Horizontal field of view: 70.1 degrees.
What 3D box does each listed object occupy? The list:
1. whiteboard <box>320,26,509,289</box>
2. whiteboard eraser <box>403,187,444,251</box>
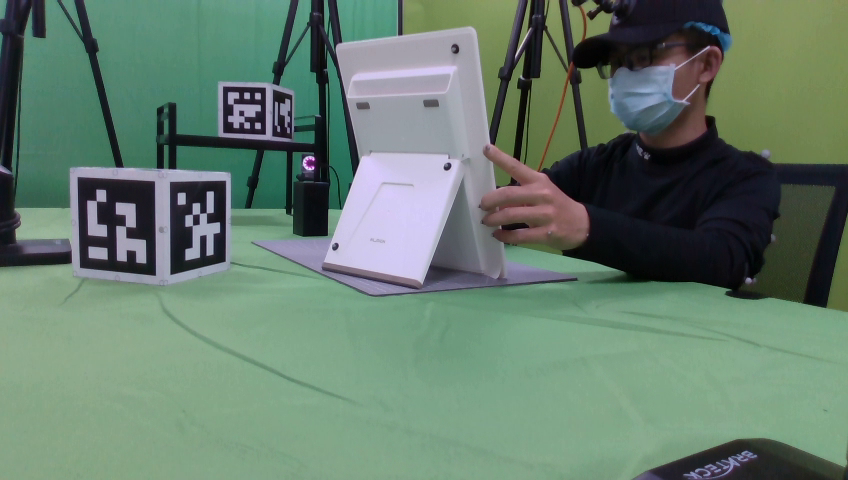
[{"bbox_3d":[-0.046,-0.076,0.720,0.216,0.305,0.144,9,29,39],"label":"whiteboard"},{"bbox_3d":[-0.001,-0.027,0.819,0.041,0.101,0.019,34,42,18],"label":"whiteboard eraser"}]
